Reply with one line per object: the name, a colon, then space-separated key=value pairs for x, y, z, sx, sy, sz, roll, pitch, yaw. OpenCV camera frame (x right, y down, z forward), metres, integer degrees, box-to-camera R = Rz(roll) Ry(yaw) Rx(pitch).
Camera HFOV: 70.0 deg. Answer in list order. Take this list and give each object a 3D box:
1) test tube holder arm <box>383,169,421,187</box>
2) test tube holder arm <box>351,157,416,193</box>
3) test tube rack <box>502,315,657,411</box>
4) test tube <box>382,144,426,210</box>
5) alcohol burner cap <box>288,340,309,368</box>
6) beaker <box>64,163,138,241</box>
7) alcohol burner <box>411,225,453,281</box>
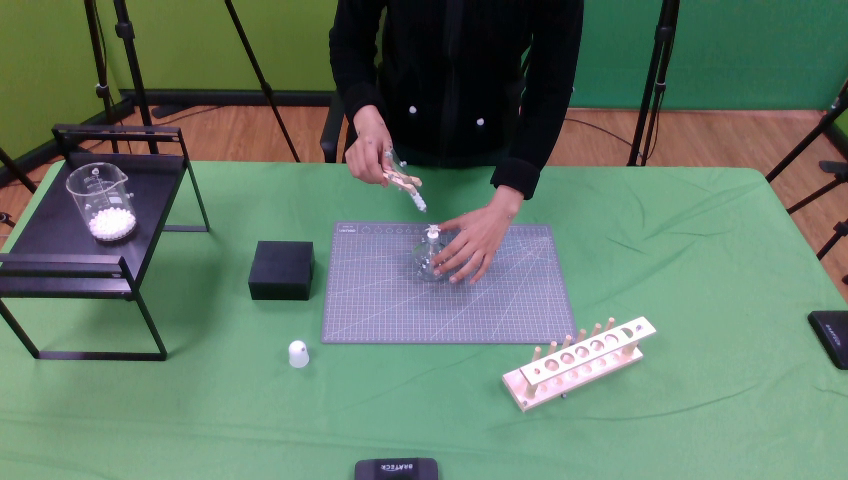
test tube holder arm: x=-0.039 y=-0.103 z=1.000 sx=0.087 sy=0.015 sz=0.010 roll=19 pitch=59 yaw=41
test tube holder arm: x=-0.072 y=-0.113 z=1.028 sx=0.013 sy=0.015 sz=0.177 roll=-44 pitch=43 yaw=-18
test tube rack: x=0.253 y=0.186 z=0.988 sx=0.242 sy=0.085 sz=0.066 roll=-18 pitch=50 yaw=-20
test tube: x=-0.029 y=-0.098 z=0.977 sx=0.017 sy=0.151 sz=0.017 roll=-15 pitch=48 yaw=17
alcohol burner cap: x=-0.207 y=0.183 z=0.991 sx=0.034 sy=0.048 sz=0.033 roll=3 pitch=47 yaw=-3
beaker: x=-0.477 y=-0.055 z=0.910 sx=0.084 sy=0.101 sz=0.073 roll=-9 pitch=48 yaw=-13
alcohol burner: x=0.015 y=0.019 z=1.110 sx=0.078 sy=0.120 sz=0.077 roll=1 pitch=45 yaw=-1
